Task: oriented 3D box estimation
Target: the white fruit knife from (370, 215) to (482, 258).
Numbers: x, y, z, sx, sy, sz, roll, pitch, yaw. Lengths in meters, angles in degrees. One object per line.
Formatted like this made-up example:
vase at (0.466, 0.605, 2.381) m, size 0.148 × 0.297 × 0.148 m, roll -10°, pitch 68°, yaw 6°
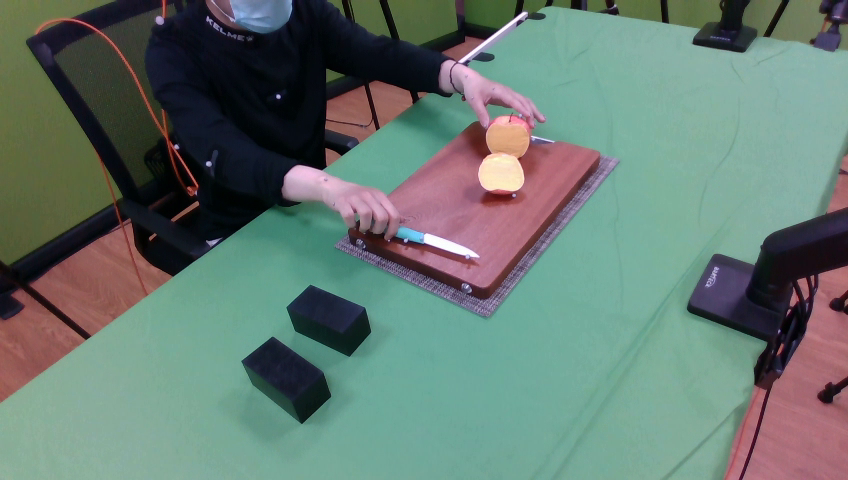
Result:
white fruit knife at (-0.002, -0.004, 0.931) m, size 0.206 × 0.016 × 0.027 m, roll 17°, pitch 43°, yaw 28°

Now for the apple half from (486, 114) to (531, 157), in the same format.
apple half at (0.154, -0.190, 1.084) m, size 0.080 × 0.075 × 0.053 m, roll 3°, pitch 37°, yaw 17°

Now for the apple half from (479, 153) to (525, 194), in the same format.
apple half at (0.130, -0.108, 1.016) m, size 0.081 × 0.033 × 0.081 m, roll 0°, pitch 66°, yaw 2°
